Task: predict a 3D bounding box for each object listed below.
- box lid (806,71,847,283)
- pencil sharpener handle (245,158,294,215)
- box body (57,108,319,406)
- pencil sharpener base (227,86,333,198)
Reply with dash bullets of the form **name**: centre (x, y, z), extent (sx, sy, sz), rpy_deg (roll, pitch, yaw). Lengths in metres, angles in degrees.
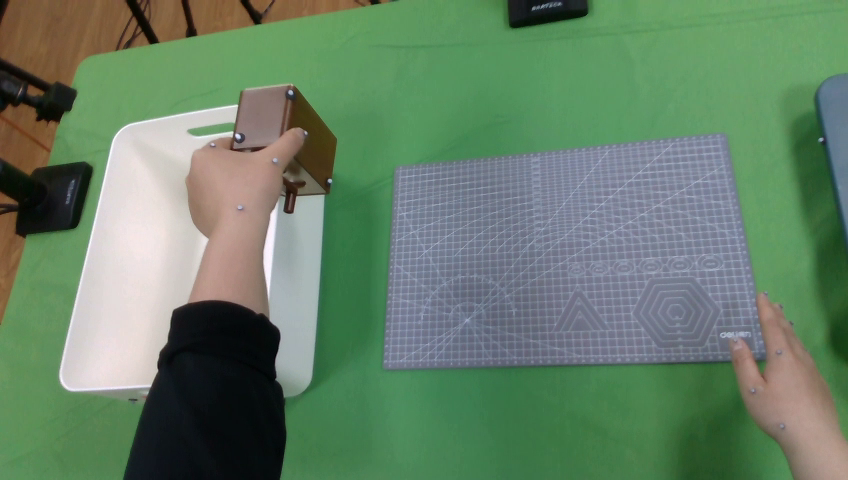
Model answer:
- **box lid**: centre (0.586, -0.042, 0.651), extent (0.263, 0.015, 0.368), rpy_deg (-2, 66, 13)
- **pencil sharpener handle**: centre (-0.148, -0.051, 0.590), extent (0.036, 0.068, 0.030), rpy_deg (-5, 68, 21)
- **box body**: centre (-0.282, 0.028, 0.799), extent (0.254, 0.162, 0.361), rpy_deg (-7, 65, 11)
- **pencil sharpener base**: centre (-0.144, -0.094, 0.619), extent (0.061, 0.108, 0.076), rpy_deg (-2, 68, 15)
